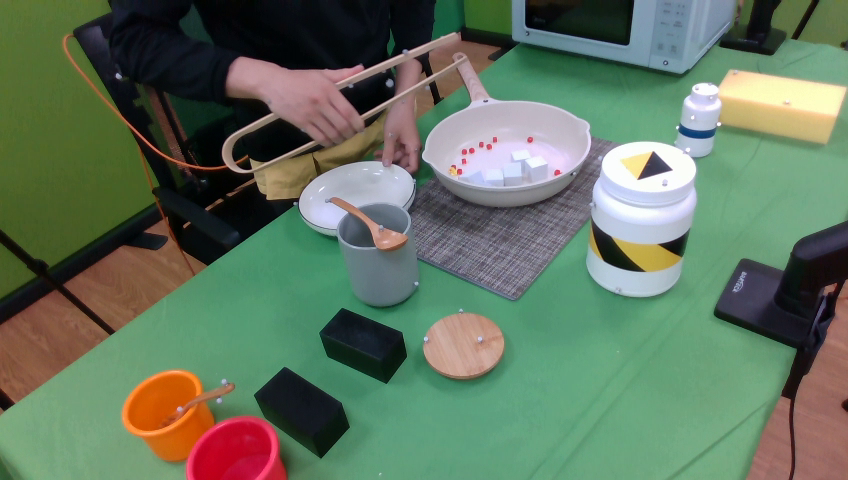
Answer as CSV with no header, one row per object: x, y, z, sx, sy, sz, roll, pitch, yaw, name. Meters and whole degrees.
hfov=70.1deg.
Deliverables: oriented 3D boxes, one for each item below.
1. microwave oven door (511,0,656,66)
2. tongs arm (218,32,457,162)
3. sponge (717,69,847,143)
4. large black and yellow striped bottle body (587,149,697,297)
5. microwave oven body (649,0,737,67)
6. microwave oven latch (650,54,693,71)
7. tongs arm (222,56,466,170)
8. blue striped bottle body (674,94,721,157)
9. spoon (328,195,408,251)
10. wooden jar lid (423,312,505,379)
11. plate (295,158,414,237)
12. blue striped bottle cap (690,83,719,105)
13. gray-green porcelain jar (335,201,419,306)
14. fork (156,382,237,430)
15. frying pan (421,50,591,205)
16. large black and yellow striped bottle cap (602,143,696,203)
0.350,-0.539,1.349,0.353,0.245,0.039,24,50,31,microwave oven door
-0.128,-0.199,0.861,0.384,0.051,0.026,-18,7,12,tongs arm
0.663,-0.256,1.142,0.205,0.061,0.118,19,47,28,sponge
0.298,-0.026,0.835,0.131,0.185,0.130,-4,41,4,large black and yellow striped bottle body
0.475,-0.602,1.411,0.438,0.261,0.327,23,50,32,microwave oven body
0.531,-0.386,1.301,0.078,0.029,0.030,26,51,33,microwave oven latch
-0.118,-0.177,0.863,0.387,0.028,0.028,-23,9,12,tongs arm
0.486,-0.213,1.071,0.063,0.121,0.063,-4,41,4,blue striped bottle body
-0.083,-0.029,0.829,0.042,0.022,0.192,-32,43,-21,spoon
0.053,0.142,0.800,0.108,0.021,0.108,-5,39,4,wooden jar lid
-0.118,-0.070,1.055,0.207,0.039,0.206,-5,40,5,plate
0.482,-0.251,1.038,0.044,0.021,0.044,-5,40,5,blue striped bottle cap
-0.064,0.024,0.872,0.106,0.127,0.105,-4,41,4,gray-green porcelain jar
-0.262,0.189,0.690,0.018,0.206,0.028,49,43,-7,fork
0.127,-0.233,1.155,0.307,0.103,0.484,-10,49,-5,frying pan
0.289,-0.088,0.779,0.115,0.019,0.114,-5,39,4,large black and yellow striped bottle cap
